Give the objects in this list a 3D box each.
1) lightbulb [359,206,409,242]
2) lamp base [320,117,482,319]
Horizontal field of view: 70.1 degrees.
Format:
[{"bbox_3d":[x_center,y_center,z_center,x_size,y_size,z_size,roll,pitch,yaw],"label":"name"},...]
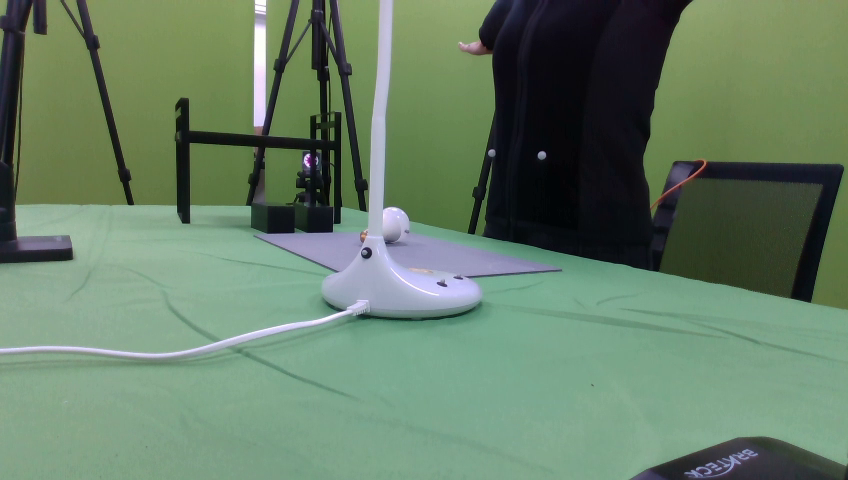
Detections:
[{"bbox_3d":[-0.069,-0.020,1.006,0.059,0.059,0.108,8,24,35],"label":"lightbulb"},{"bbox_3d":[-0.023,-0.025,0.579,0.160,0.180,0.179,4,10,16],"label":"lamp base"}]
